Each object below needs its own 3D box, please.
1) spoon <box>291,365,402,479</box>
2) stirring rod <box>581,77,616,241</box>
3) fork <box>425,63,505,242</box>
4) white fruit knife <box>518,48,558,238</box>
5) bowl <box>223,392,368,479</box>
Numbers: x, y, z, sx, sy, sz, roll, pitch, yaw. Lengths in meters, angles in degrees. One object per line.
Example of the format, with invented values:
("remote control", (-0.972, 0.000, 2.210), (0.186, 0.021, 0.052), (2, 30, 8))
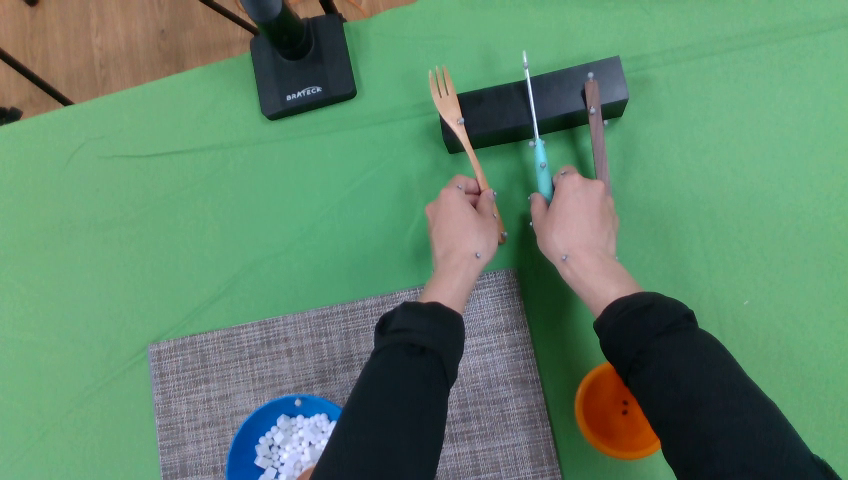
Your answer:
("spoon", (-0.077, 0.199, 0.603), (0.041, 0.021, 0.194), (38, 107, 6))
("stirring rod", (0.188, -0.085, 0.651), (0.014, 0.006, 0.176), (-10, 99, 6))
("fork", (0.048, -0.092, 0.665), (0.028, 0.018, 0.208), (-26, 98, -15))
("white fruit knife", (0.121, -0.102, 0.654), (0.016, 0.027, 0.207), (-11, 96, 5))
("bowl", (-0.124, 0.235, 0.640), (0.151, 0.077, 0.151), (-2, 80, 9))
